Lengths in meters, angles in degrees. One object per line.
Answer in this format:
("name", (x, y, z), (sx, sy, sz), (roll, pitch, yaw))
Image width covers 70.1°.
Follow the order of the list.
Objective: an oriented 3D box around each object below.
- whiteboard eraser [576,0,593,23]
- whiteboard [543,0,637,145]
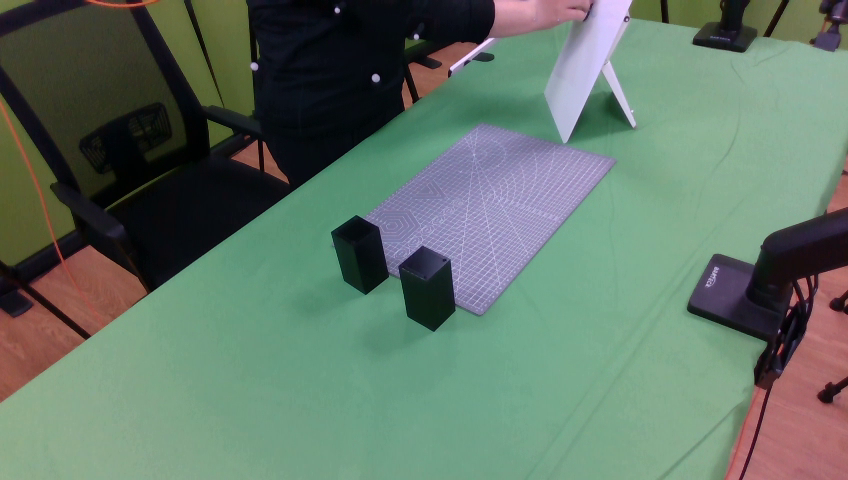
("whiteboard eraser", (0.310, -0.463, 1.144), (0.019, 0.101, 0.041), (-1, 34, -13))
("whiteboard", (0.365, -0.351, 1.161), (0.144, 0.306, 0.216), (9, 39, -10))
